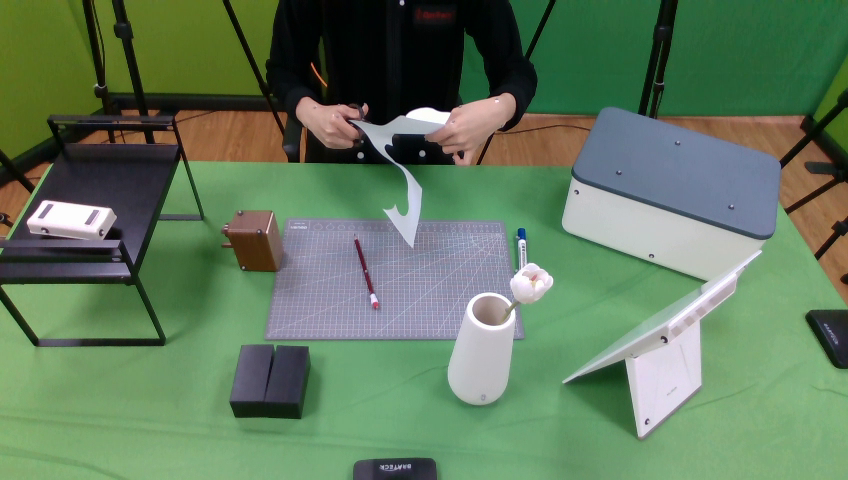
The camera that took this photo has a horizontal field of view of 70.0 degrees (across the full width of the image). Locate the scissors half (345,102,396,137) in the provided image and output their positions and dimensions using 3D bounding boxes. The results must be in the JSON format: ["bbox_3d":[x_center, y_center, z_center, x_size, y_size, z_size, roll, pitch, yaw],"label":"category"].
[{"bbox_3d":[-0.097,-0.211,1.077,0.013,0.040,0.174,-16,35,-32],"label":"scissors half"}]

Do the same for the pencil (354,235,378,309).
[{"bbox_3d":[-0.112,0.055,1.143,0.012,0.012,0.192,-10,46,-13],"label":"pencil"}]

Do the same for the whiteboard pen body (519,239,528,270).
[{"bbox_3d":[0.193,0.035,1.181,0.017,0.017,0.140,6,48,1],"label":"whiteboard pen body"}]

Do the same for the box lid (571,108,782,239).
[{"bbox_3d":[0.491,-0.139,1.168,0.370,0.015,0.262,21,49,15],"label":"box lid"}]

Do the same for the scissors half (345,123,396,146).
[{"bbox_3d":[-0.097,-0.190,1.083,0.013,0.040,0.174,-10,10,-33],"label":"scissors half"}]

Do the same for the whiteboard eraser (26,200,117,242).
[{"bbox_3d":[-0.532,-0.026,0.919,0.113,0.042,0.055,7,45,3],"label":"whiteboard eraser"}]

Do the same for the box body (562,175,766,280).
[{"bbox_3d":[0.486,-0.088,1.222,0.363,0.161,0.253,20,48,15],"label":"box body"}]

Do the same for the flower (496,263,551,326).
[{"bbox_3d":[0.102,0.121,0.853,0.044,0.363,0.038,-2,64,-10],"label":"flower"}]

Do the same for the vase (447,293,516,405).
[{"bbox_3d":[0.091,0.169,0.921,0.098,0.201,0.097,3,47,-3],"label":"vase"}]

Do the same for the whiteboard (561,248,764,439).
[{"bbox_3d":[0.386,0.176,0.905,0.217,0.306,0.143,-26,72,-27],"label":"whiteboard"}]

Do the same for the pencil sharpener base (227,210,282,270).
[{"bbox_3d":[-0.311,0.001,1.112,0.077,0.107,0.061,1,47,1],"label":"pencil sharpener base"}]

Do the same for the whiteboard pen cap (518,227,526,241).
[{"bbox_3d":[0.197,-0.009,1.220,0.018,0.018,0.033,5,50,1],"label":"whiteboard pen cap"}]

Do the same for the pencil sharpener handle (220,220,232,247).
[{"bbox_3d":[-0.362,-0.009,1.105,0.030,0.068,0.036,1,52,1],"label":"pencil sharpener handle"}]
